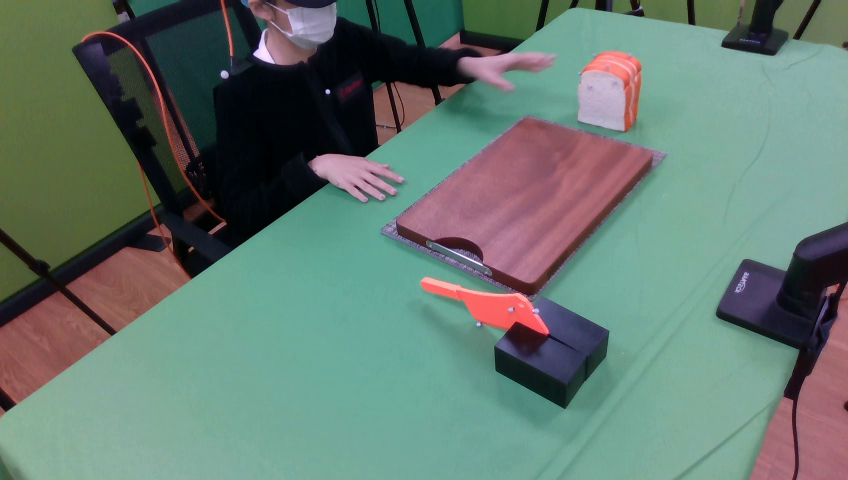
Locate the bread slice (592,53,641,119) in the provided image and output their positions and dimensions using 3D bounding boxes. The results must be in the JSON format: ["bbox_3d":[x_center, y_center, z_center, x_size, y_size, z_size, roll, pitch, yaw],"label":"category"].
[{"bbox_3d":[0.373,-0.302,1.186,0.106,0.135,0.018,23,55,24],"label":"bread slice"}]

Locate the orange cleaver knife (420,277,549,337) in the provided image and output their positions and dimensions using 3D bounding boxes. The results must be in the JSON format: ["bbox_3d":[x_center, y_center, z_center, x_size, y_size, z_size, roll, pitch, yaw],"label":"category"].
[{"bbox_3d":[0.076,0.089,0.813,0.209,0.077,0.012,9,44,47],"label":"orange cleaver knife"}]

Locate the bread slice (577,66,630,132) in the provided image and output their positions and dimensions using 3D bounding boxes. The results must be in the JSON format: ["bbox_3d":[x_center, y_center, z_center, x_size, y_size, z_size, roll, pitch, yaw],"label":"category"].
[{"bbox_3d":[0.341,-0.270,1.158,0.104,0.132,0.019,22,56,31],"label":"bread slice"}]
